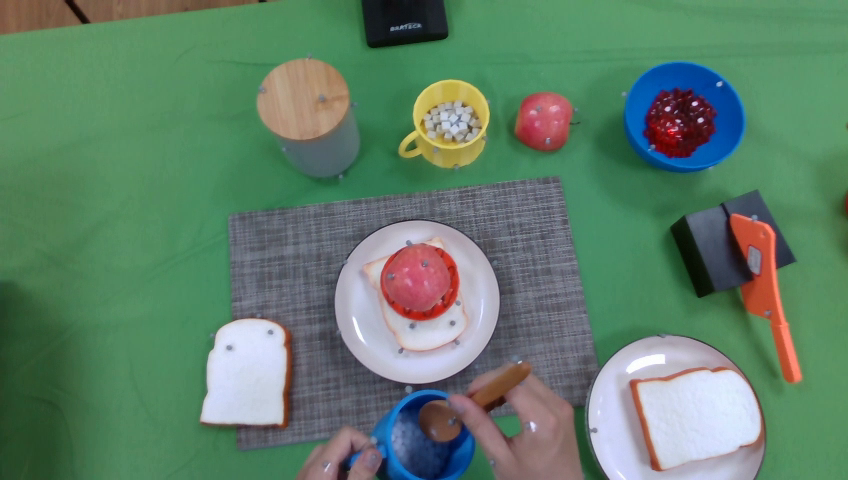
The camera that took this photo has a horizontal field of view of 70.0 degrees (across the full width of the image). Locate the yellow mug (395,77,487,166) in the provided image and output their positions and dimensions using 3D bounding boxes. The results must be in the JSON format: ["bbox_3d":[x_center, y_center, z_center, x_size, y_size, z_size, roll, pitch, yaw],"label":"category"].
[{"bbox_3d":[0.020,-0.150,0.809,0.131,0.064,0.099,-30,76,-7],"label":"yellow mug"}]

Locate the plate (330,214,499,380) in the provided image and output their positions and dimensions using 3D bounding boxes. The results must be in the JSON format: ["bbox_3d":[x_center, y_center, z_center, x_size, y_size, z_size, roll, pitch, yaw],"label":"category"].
[{"bbox_3d":[-0.012,0.071,0.759,0.208,0.039,0.206,0,75,1],"label":"plate"}]

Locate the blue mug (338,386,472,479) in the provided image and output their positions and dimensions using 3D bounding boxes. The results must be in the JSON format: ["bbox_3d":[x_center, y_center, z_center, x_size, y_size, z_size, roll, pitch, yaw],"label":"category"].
[{"bbox_3d":[-0.024,0.194,0.577,0.117,0.106,0.081,-9,69,-19],"label":"blue mug"}]

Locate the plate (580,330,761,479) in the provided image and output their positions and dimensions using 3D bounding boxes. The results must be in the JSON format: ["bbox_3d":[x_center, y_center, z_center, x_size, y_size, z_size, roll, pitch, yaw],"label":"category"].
[{"bbox_3d":[0.288,0.213,0.720,0.209,0.038,0.208,0,75,1],"label":"plate"}]

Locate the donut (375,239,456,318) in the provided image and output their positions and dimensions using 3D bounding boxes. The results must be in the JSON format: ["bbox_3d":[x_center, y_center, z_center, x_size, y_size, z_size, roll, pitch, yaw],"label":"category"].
[{"bbox_3d":[-0.010,0.047,0.736,0.099,0.048,0.098,0,75,1],"label":"donut"}]

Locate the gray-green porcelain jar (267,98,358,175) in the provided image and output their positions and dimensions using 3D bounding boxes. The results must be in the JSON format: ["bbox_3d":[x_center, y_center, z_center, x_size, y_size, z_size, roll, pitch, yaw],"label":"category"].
[{"bbox_3d":[-0.142,-0.149,0.780,0.106,0.127,0.105,0,74,1],"label":"gray-green porcelain jar"}]

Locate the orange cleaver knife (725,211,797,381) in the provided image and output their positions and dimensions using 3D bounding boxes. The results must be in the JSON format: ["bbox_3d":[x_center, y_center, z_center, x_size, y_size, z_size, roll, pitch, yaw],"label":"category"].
[{"bbox_3d":[0.407,0.067,0.736,0.012,0.077,0.211,-17,97,-11],"label":"orange cleaver knife"}]

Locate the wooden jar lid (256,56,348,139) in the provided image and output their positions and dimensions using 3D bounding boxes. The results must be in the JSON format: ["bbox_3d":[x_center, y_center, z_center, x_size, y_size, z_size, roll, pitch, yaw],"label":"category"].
[{"bbox_3d":[-0.144,-0.167,0.720,0.108,0.021,0.107,0,73,1],"label":"wooden jar lid"}]

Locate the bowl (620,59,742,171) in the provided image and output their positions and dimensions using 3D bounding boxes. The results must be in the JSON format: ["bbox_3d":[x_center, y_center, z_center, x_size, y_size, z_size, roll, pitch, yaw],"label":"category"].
[{"bbox_3d":[0.326,-0.151,0.799,0.151,0.077,0.150,0,75,1],"label":"bowl"}]

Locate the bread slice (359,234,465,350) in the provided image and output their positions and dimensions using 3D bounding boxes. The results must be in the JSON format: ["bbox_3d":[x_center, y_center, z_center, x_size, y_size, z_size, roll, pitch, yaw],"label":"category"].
[{"bbox_3d":[-0.007,0.069,0.761,0.107,0.018,0.133,-24,75,-5],"label":"bread slice"}]

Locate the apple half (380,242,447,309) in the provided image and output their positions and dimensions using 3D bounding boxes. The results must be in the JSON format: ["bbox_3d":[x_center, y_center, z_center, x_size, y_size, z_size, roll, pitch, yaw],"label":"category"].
[{"bbox_3d":[-0.012,0.039,0.702,0.081,0.033,0.081,-2,77,7],"label":"apple half"}]

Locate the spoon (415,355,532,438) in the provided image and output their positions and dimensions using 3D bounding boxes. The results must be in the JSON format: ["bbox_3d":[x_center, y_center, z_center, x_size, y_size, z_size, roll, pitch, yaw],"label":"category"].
[{"bbox_3d":[0.037,0.131,0.495,0.041,0.194,0.021,46,57,5],"label":"spoon"}]

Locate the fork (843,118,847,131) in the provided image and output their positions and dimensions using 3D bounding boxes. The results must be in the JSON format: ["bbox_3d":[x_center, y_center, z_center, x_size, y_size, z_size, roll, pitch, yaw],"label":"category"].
[{"bbox_3d":[0.556,-0.087,0.742,0.209,0.018,0.028,35,72,-33],"label":"fork"}]

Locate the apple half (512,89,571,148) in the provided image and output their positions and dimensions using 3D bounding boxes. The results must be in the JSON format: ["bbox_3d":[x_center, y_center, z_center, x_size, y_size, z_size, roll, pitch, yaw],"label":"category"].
[{"bbox_3d":[0.161,-0.171,0.820,0.074,0.053,0.080,15,76,7],"label":"apple half"}]

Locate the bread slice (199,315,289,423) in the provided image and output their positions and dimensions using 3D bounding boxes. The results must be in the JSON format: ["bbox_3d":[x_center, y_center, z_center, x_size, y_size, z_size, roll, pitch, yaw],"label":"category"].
[{"bbox_3d":[-0.221,0.158,0.749,0.105,0.019,0.131,0,76,0],"label":"bread slice"}]
